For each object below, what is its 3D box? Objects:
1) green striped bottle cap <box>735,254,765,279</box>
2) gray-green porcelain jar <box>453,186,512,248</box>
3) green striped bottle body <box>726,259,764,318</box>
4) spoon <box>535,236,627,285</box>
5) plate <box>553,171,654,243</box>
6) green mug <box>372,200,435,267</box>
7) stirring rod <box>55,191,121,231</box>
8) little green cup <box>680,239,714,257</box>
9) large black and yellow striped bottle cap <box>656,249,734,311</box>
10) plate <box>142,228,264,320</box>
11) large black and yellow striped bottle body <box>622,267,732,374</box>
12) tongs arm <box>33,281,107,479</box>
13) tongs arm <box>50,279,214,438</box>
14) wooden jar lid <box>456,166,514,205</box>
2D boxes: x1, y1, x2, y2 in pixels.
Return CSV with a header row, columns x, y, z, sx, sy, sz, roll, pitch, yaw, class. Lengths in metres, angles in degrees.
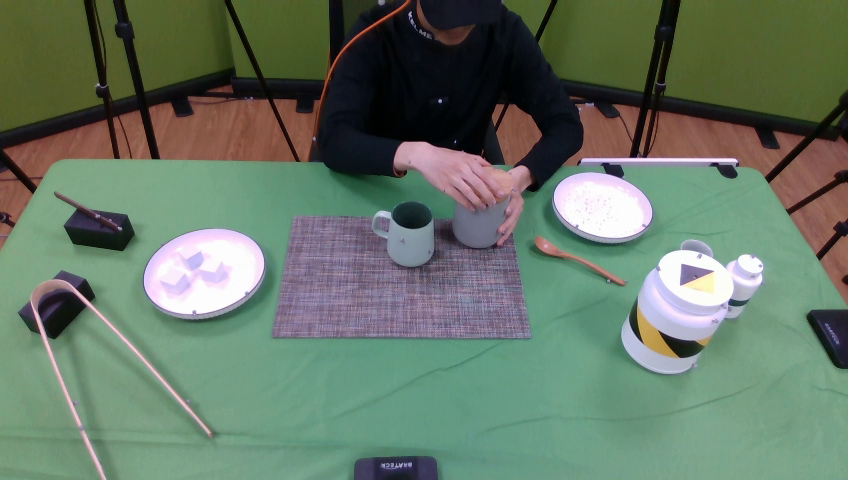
x,y,z,sx,sy,sz,roll,pitch,yaw,class
0.566,0.046,1.051,0.044,0.020,0.044,0,45,0,green striped bottle cap
0.110,-0.056,1.179,0.106,0.127,0.105,2,47,-2,gray-green porcelain jar
0.563,0.081,1.089,0.063,0.120,0.063,2,46,-2,green striped bottle body
0.303,0.040,1.178,0.193,0.022,0.041,25,32,20,spoon
0.373,-0.066,1.275,0.209,0.038,0.208,2,46,-2,plate
-0.040,-0.015,1.146,0.125,0.105,0.092,16,48,12,green mug
-0.632,-0.055,1.138,0.175,0.014,0.006,24,50,19,stirring rod
0.530,0.033,1.189,0.061,0.039,0.061,2,47,-2,little green cup
0.419,0.061,0.938,0.115,0.019,0.114,2,47,-2,large black and yellow striped bottle cap
-0.394,0.064,1.095,0.208,0.039,0.206,2,46,-2,plate
0.415,0.119,0.997,0.131,0.185,0.130,2,46,-2,large black and yellow striped bottle body
-0.517,0.214,0.910,0.051,0.026,0.383,-28,63,-27,tongs arm
-0.459,0.178,0.949,0.386,0.028,0.028,37,60,17,tongs arm
0.114,-0.101,1.131,0.108,0.021,0.107,-1,41,1,wooden jar lid
